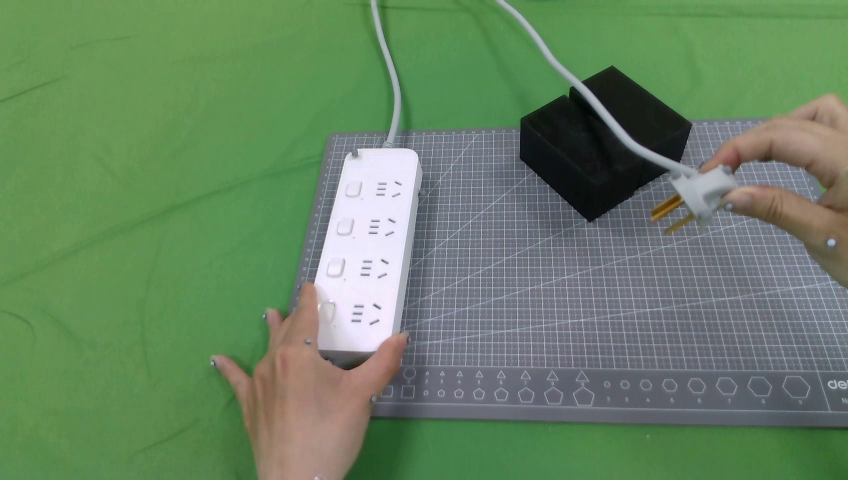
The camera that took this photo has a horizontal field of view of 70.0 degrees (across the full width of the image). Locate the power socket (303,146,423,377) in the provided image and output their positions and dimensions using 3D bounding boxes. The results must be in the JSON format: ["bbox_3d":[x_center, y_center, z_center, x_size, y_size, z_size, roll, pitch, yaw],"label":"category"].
[{"bbox_3d":[-0.046,0.005,0.515,0.072,0.033,0.224,2,55,8],"label":"power socket"}]

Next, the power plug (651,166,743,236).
[{"bbox_3d":[0.167,-0.017,0.367,0.052,0.073,0.035,-35,53,19],"label":"power plug"}]
